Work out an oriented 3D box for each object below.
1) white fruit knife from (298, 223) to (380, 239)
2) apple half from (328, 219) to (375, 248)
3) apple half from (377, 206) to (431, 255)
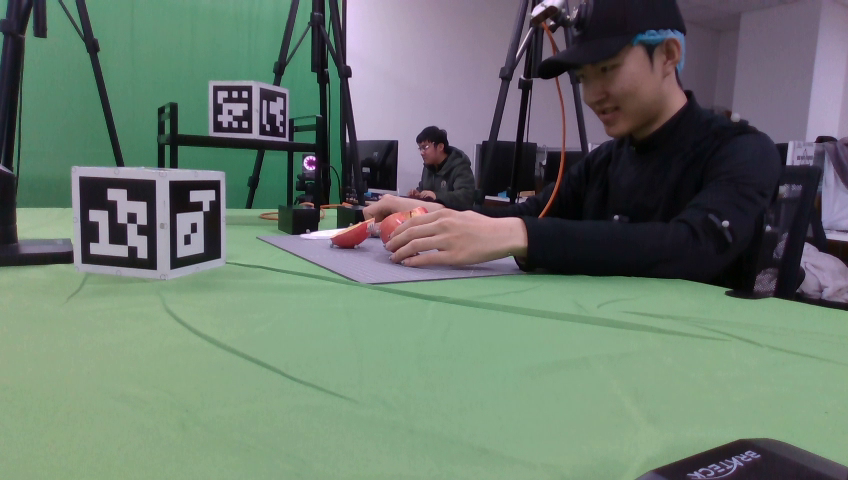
[{"bbox_3d":[-0.129,-0.016,1.096,0.208,0.016,0.027,-6,55,-34],"label":"white fruit knife"},{"bbox_3d":[-0.111,-0.007,0.971,0.081,0.033,0.081,-18,9,3],"label":"apple half"},{"bbox_3d":[-0.025,-0.007,0.899,0.081,0.053,0.074,-14,-23,-34],"label":"apple half"}]
